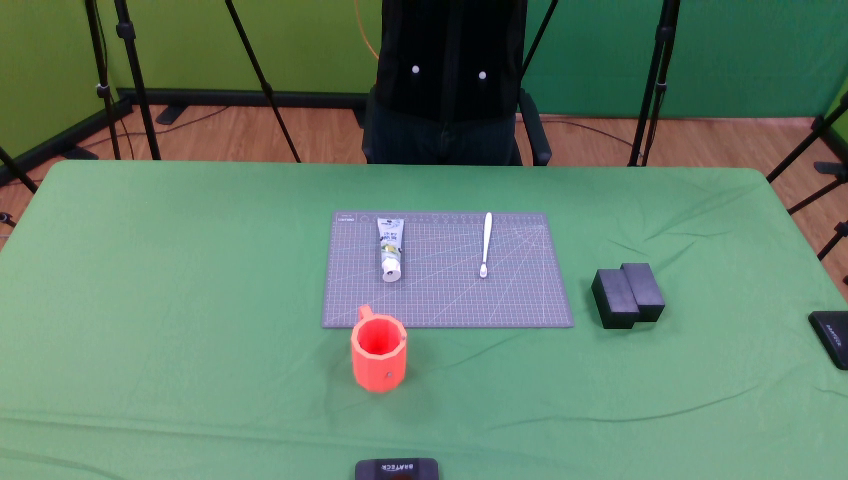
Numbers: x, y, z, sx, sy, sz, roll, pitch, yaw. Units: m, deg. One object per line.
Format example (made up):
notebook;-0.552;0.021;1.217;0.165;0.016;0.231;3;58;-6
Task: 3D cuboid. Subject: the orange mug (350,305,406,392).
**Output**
orange mug;-0.080;0.168;0.978;0.083;0.101;0.125;-16;54;-18

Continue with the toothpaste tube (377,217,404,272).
toothpaste tube;-0.063;0.008;1.179;0.055;0.034;0.164;5;42;-9

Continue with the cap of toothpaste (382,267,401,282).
cap of toothpaste;-0.060;0.063;1.118;0.037;0.037;0.011;-9;50;-12

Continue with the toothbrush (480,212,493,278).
toothbrush;0.124;0.004;1.203;0.014;0.017;0.181;-2;43;13
